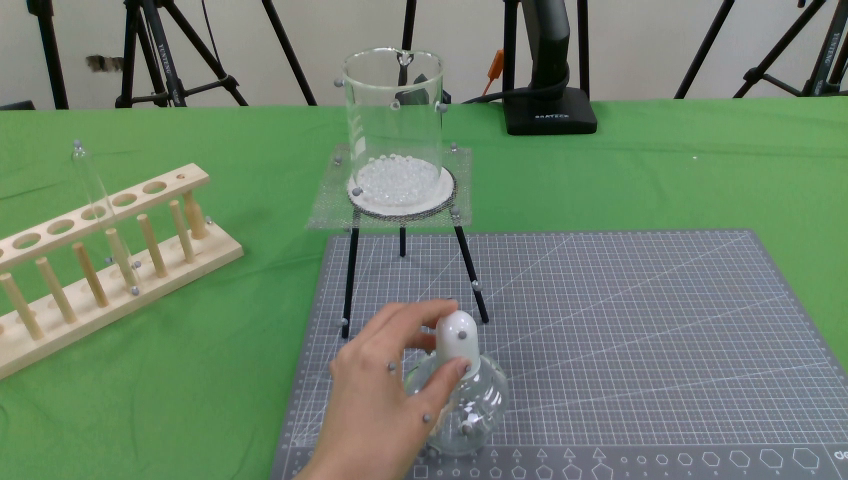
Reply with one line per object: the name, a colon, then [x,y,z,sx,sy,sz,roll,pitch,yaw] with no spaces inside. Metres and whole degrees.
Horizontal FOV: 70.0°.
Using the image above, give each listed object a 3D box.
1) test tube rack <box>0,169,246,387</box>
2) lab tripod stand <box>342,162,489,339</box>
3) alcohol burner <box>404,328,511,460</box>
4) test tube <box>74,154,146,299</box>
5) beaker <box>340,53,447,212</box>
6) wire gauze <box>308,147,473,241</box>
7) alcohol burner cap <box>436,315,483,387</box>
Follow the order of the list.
test tube rack: [-0.298,0.027,0.562,0.242,0.086,0.066,-31,46,-32]
lab tripod stand: [-0.011,0.010,0.526,0.148,0.132,0.147,0,37,0]
alcohol burner: [0.024,0.100,0.426,0.078,0.120,0.077,-1,40,1]
test tube: [-0.274,-0.008,0.533,0.017,0.151,0.017,-1,37,1]
beaker: [-0.020,-0.080,0.455,0.074,0.101,0.083,7,38,8]
wire gauze: [-0.021,-0.041,0.484,0.121,0.011,0.124,1,40,3]
alcohol burner cap: [0.024,0.071,0.404,0.034,0.048,0.033,-1,36,1]
